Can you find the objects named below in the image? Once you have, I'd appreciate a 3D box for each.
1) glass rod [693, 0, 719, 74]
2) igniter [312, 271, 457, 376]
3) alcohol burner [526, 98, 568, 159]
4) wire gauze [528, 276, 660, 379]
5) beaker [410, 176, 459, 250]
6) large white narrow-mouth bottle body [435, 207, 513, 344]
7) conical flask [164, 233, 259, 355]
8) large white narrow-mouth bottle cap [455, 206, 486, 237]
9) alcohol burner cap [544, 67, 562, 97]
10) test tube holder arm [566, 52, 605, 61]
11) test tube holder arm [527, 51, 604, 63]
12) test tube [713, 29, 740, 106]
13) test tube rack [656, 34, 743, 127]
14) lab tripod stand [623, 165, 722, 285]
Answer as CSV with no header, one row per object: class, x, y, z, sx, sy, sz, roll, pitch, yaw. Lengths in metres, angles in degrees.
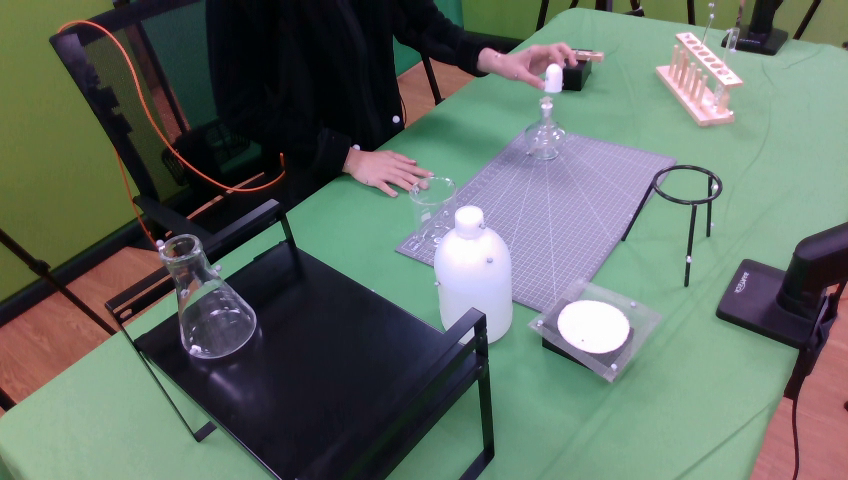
glass rod,0.561,-0.401,1.214,0.008,0.200,0.008,-1,49,2
igniter,-0.068,0.111,0.859,0.274,0.025,0.057,27,61,34
alcohol burner,0.228,-0.210,1.118,0.078,0.119,0.077,-5,43,5
wire gauze,0.214,0.103,0.763,0.124,0.011,0.122,30,52,35
beaker,0.022,-0.041,0.964,0.073,0.101,0.084,28,51,35
large white narrow-mouth bottle body,0.065,0.041,0.791,0.102,0.195,0.101,-4,41,4
conical flask,-0.216,0.051,0.601,0.075,0.122,0.075,-4,40,4
large white narrow-mouth bottle cap,0.057,-0.023,0.734,0.038,0.024,0.037,-4,40,4
alcohol burner cap,0.228,-0.281,1.067,0.034,0.048,0.033,-3,36,3
test tube holder arm,0.352,-0.401,1.325,0.087,0.015,0.010,15,38,31
test tube holder arm,0.311,-0.408,1.344,0.177,0.015,0.013,14,38,30
test tube,0.572,-0.324,1.147,0.017,0.151,0.017,-2,37,2
test tube rack,0.553,-0.330,1.233,0.067,0.085,0.241,-7,40,2
lab tripod stand,0.365,-0.030,0.875,0.148,0.132,0.147,-6,41,6
